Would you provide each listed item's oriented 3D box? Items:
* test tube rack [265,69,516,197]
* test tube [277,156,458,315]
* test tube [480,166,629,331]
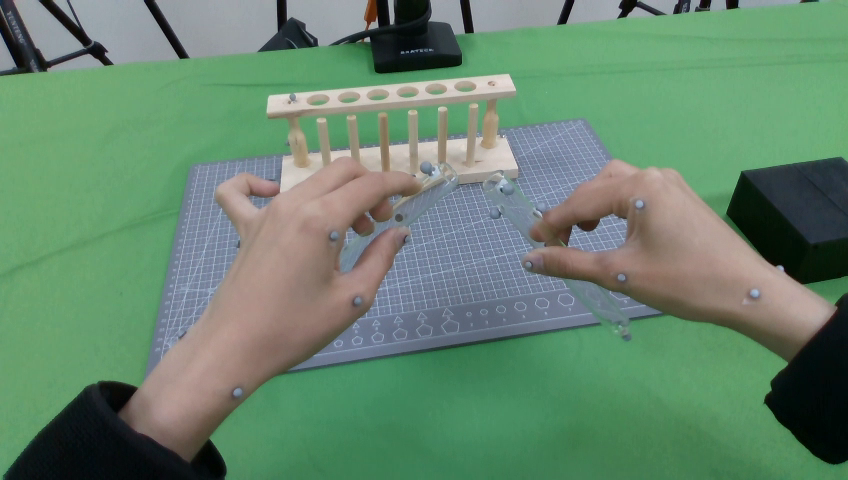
[{"bbox_3d":[-0.030,-0.108,0.613,0.242,0.086,0.066,-6,43,-4],"label":"test tube rack"},{"bbox_3d":[-0.038,0.002,0.352,0.150,0.017,0.017,-39,35,27],"label":"test tube"},{"bbox_3d":[0.083,0.010,0.362,0.017,0.151,0.017,-32,32,23],"label":"test tube"}]
